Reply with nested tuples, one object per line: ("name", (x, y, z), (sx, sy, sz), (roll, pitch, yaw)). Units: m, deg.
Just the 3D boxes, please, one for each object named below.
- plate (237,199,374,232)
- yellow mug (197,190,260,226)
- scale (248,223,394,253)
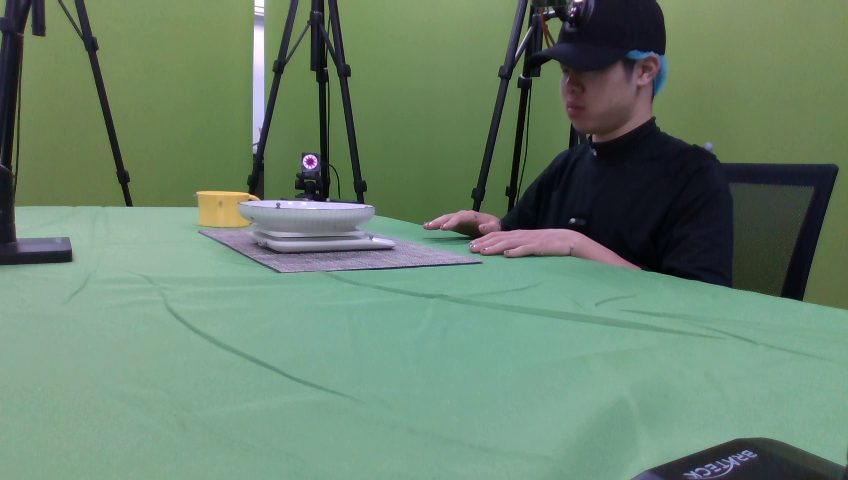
("plate", (-0.183, -0.039, 0.941), (0.209, 0.038, 0.209), (3, 7, 0))
("yellow mug", (-0.389, -0.065, 1.223), (0.131, 0.064, 0.099), (-1, 8, -34))
("scale", (-0.162, -0.006, 0.954), (0.202, 0.031, 0.148), (-2, 9, -32))
